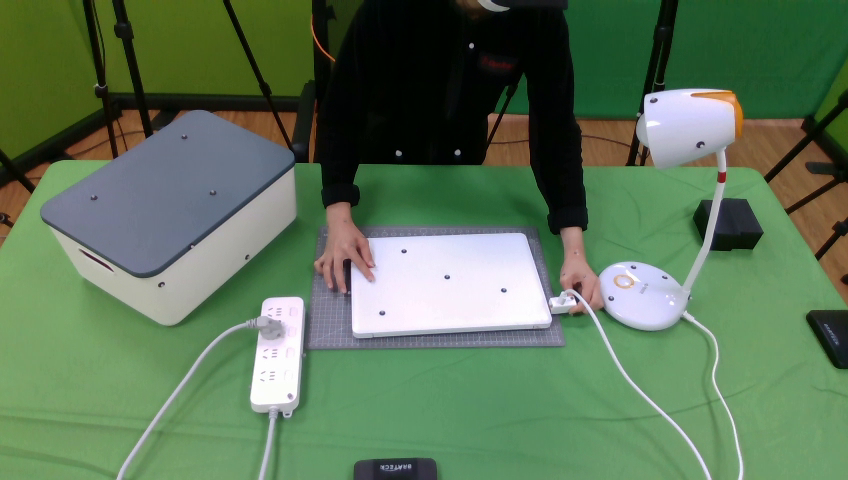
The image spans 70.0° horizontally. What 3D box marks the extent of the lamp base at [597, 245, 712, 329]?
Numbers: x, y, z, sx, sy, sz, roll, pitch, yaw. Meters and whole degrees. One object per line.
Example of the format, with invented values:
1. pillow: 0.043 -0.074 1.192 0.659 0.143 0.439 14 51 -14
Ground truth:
1. lamp base: 0.418 0.051 1.072 0.179 0.181 0.160 22 49 13

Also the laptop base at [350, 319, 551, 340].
1. laptop base: 0.040 0.080 1.126 0.355 0.023 0.234 -2 43 -6

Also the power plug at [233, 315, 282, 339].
1. power plug: -0.271 0.144 1.000 0.072 0.053 0.035 5 47 3

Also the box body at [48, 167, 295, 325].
1. box body: -0.437 -0.046 1.110 0.253 0.161 0.363 24 49 18

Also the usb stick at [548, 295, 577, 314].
1. usb stick: 0.242 0.116 1.088 0.059 0.027 0.021 -8 53 -5

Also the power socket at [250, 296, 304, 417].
1. power socket: -0.239 0.182 0.996 0.072 0.033 0.225 -2 47 -5

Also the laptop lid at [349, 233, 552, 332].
1. laptop lid: 0.040 0.071 1.120 0.357 0.013 0.240 -1 44 -5

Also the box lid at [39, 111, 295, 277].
1. box lid: -0.434 -0.097 1.055 0.262 0.015 0.370 25 49 18

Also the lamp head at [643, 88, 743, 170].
1. lamp head: 0.379 -0.160 0.851 0.122 0.113 0.112 -4 42 25
